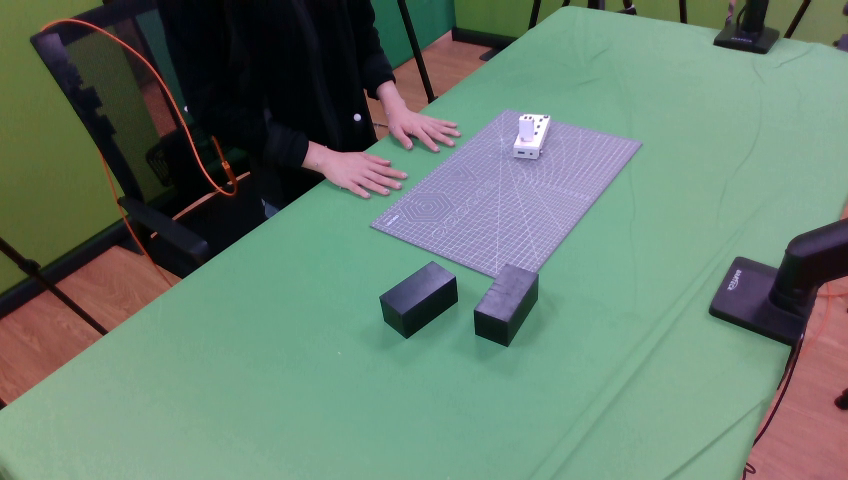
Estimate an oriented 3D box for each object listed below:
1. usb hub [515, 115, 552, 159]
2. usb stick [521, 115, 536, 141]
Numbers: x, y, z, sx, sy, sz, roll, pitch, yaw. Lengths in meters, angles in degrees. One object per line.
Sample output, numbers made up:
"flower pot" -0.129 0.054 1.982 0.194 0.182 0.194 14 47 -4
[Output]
"usb hub" 0.213 -0.201 1.173 0.049 0.025 0.125 9 43 18
"usb stick" 0.196 -0.203 1.134 0.027 0.059 0.021 8 42 15
